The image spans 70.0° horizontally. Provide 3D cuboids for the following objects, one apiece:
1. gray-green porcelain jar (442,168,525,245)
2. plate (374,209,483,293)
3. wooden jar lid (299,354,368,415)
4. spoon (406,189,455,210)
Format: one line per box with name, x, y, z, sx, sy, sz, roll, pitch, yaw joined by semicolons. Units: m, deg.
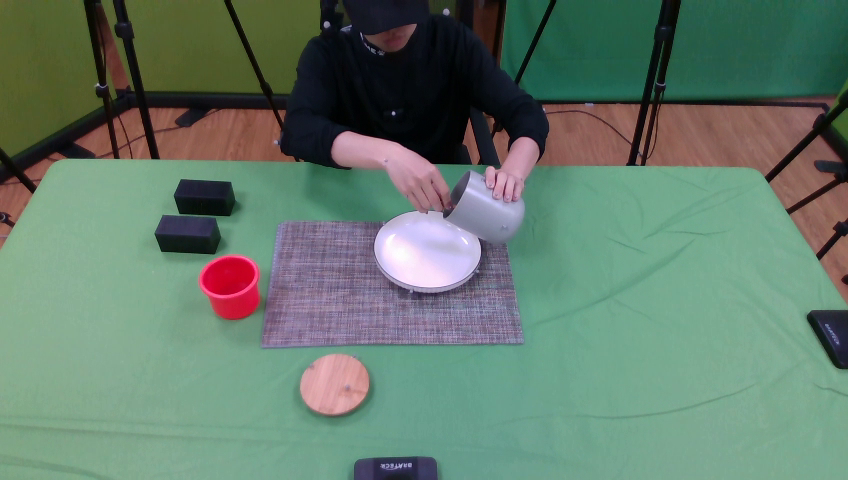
gray-green porcelain jar;0.113;-0.058;1.116;0.127;0.106;0.105;26;45;-12
plate;0.008;0.024;1.158;0.208;0.039;0.206;2;46;-2
wooden jar lid;-0.143;0.232;0.964;0.108;0.021;0.107;2;45;-2
spoon;0.060;-0.059;1.103;0.194;0.022;0.041;13;56;-2
